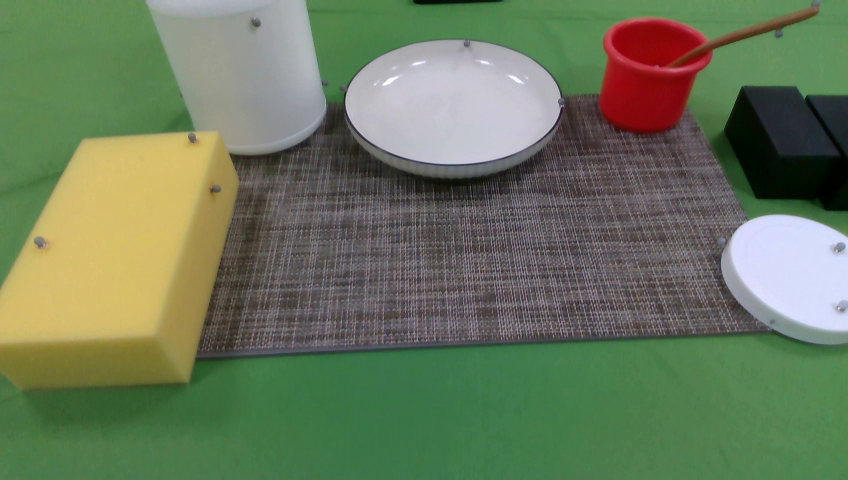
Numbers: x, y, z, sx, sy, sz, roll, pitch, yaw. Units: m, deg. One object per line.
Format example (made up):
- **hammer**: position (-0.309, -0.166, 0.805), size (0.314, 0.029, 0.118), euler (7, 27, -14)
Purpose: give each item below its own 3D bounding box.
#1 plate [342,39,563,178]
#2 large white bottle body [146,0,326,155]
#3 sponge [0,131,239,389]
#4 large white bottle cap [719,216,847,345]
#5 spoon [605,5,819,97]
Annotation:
- **plate**: position (0.027, -0.126, 0.587), size (0.209, 0.038, 0.207), euler (0, 48, 1)
- **large white bottle body**: position (-0.167, -0.185, 0.545), size (0.130, 0.186, 0.129), euler (-2, 46, 2)
- **sponge**: position (-0.222, 0.006, 0.460), size (0.118, 0.061, 0.204), euler (-4, 47, 0)
- **large white bottle cap**: position (0.285, 0.028, 0.459), size (0.115, 0.018, 0.113), euler (1, 48, -1)
- **spoon**: position (0.248, -0.167, 0.548), size (0.022, 0.193, 0.041), euler (53, 55, -14)
